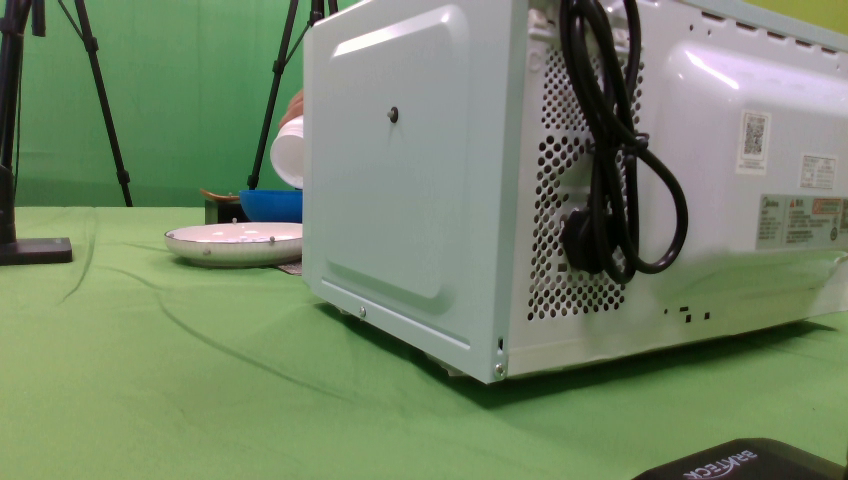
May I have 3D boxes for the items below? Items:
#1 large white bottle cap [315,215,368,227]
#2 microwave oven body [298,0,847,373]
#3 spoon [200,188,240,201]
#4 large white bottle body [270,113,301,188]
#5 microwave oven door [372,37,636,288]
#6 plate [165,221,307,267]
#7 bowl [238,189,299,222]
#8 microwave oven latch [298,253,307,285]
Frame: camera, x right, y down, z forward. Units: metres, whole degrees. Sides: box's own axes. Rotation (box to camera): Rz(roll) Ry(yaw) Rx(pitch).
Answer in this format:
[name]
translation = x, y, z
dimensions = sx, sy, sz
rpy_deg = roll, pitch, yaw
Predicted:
[large white bottle cap]
translation = -0.177, -0.041, 1.309
dimensions = 0.115, 0.018, 0.115
rpy_deg = 2, 6, 0
[microwave oven body]
translation = 0.151, -0.055, 0.542
dimensions = 0.444, 0.260, 0.324
rpy_deg = -2, 7, -33
[spoon]
translation = -0.338, -0.080, 1.190
dimensions = 0.194, 0.021, 0.041
rpy_deg = 5, 3, -19
[large white bottle body]
translation = -0.201, -0.185, 1.155
dimensions = 0.130, 0.130, 0.185
rpy_deg = 5, 32, 18
[microwave oven door]
translation = 0.110, -0.080, 0.686
dimensions = 0.358, 0.243, 0.039
rpy_deg = -2, 9, -33
[plate]
translation = -0.241, 0.004, 0.829
dimensions = 0.209, 0.038, 0.209
rpy_deg = 0, 9, 0
[bowl]
translation = -0.245, -0.046, 1.052
dimensions = 0.151, 0.077, 0.151
rpy_deg = 2, 8, 0
[microwave oven latch]
translation = -0.081, 0.027, 0.582
dimensions = 0.079, 0.029, 0.030
rpy_deg = -1, 7, -32
